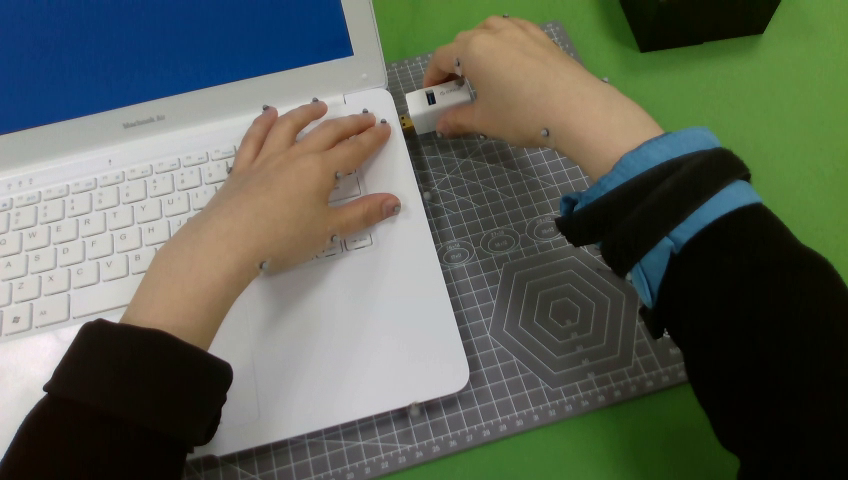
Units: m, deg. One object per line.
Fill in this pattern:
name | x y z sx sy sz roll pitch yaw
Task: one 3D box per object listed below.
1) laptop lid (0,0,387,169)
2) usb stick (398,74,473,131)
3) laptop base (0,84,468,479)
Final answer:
laptop lid | -0.215 -0.165 0.375 0.357 0.244 0.013 -15 38 -3
usb stick | 0.004 -0.095 0.428 0.059 0.027 0.021 -15 63 9
laptop base | -0.169 0.027 0.395 0.354 0.023 0.233 -14 66 -4
